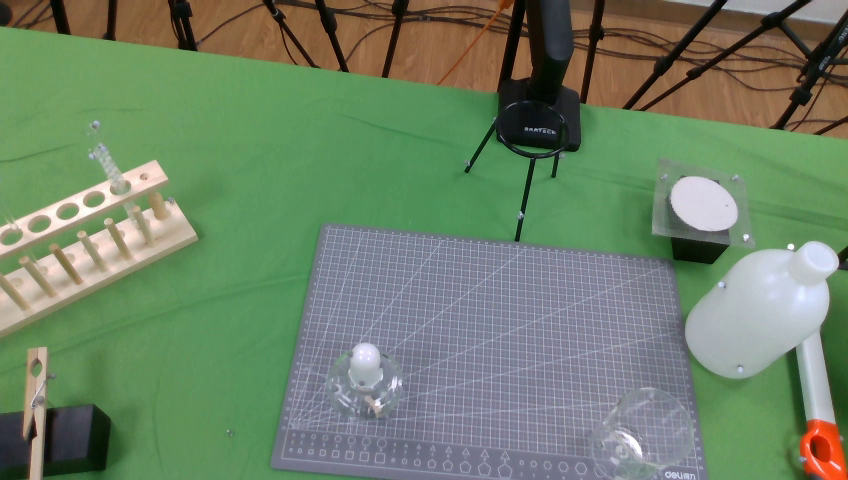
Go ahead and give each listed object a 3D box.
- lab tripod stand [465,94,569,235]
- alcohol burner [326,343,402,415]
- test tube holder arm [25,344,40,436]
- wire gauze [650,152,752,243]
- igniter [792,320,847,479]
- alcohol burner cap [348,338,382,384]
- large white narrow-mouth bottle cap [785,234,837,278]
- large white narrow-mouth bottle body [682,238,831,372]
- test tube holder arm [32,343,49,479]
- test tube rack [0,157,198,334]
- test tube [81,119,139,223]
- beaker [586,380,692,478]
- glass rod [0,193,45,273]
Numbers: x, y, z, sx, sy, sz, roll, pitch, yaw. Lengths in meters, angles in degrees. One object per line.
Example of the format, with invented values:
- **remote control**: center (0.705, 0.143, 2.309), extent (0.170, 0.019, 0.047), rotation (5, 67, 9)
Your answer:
- **lab tripod stand**: center (0.123, -0.101, 0.760), extent (0.148, 0.132, 0.147), rotation (3, 59, -5)
- **alcohol burner**: center (-0.059, 0.132, 0.605), extent (0.078, 0.120, 0.077), rotation (4, 57, -5)
- **test tube holder arm**: center (-0.369, 0.141, 0.571), extent (0.010, 0.015, 0.087), rotation (-8, 59, -20)
- **wire gauze**: center (0.348, -0.054, 0.767), extent (0.121, 0.011, 0.124), rotation (13, 57, 3)
- **igniter**: center (0.431, 0.203, 0.661), extent (0.057, 0.025, 0.274), rotation (18, 57, -6)
- **alcohol burner cap**: center (-0.057, 0.113, 0.574), extent (0.034, 0.048, 0.033), rotation (2, 53, -2)
- **large white narrow-mouth bottle cap**: center (0.364, 0.015, 0.572), extent (0.038, 0.024, 0.037), rotation (2, 57, -3)
- **large white narrow-mouth bottle body**: center (0.358, 0.062, 0.643), extent (0.102, 0.196, 0.101), rotation (2, 57, -3)
- **test tube holder arm**: center (-0.351, 0.177, 0.552), extent (0.013, 0.015, 0.176), rotation (-8, 59, -20)
- **test tube rack**: center (-0.388, 0.006, 0.672), extent (0.242, 0.086, 0.066), rotation (-30, 65, -22)
- **test tube**: center (-0.338, -0.070, 0.664), extent (0.017, 0.151, 0.017), rotation (1, 52, -1)
- **beaker**: center (0.205, 0.191, 0.601), extent (0.084, 0.101, 0.073), rotation (3, 57, -2)
- **glass rod**: center (-0.422, -0.028, 0.612), extent (0.008, 0.201, 0.008), rotation (4, 48, -5)
